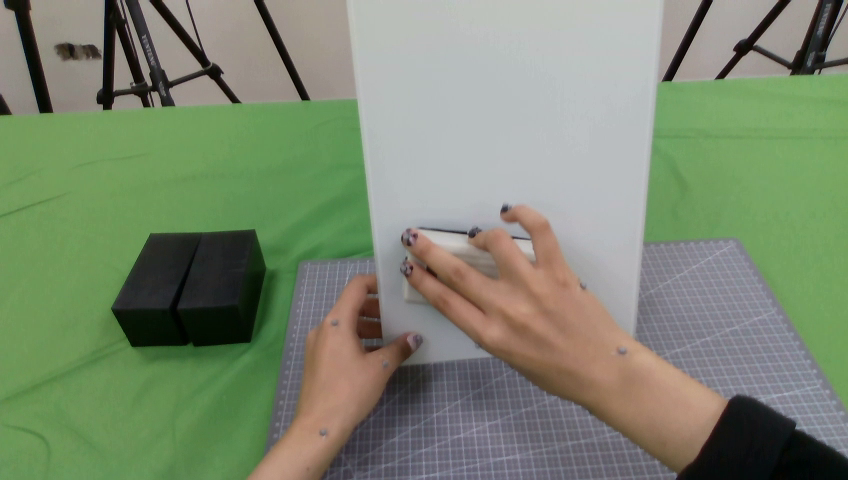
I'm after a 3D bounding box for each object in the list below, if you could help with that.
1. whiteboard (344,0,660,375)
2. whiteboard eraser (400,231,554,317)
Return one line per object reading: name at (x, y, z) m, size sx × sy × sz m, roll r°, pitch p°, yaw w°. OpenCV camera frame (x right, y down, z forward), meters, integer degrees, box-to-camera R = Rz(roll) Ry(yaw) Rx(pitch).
whiteboard at (0.061, -0.061, 0.522) m, size 0.217 × 0.307 × 0.143 m, roll -4°, pitch 22°, yaw -1°
whiteboard eraser at (0.039, 0.025, 0.463) m, size 0.113 × 0.056 × 0.041 m, roll 6°, pitch 19°, yaw -2°
